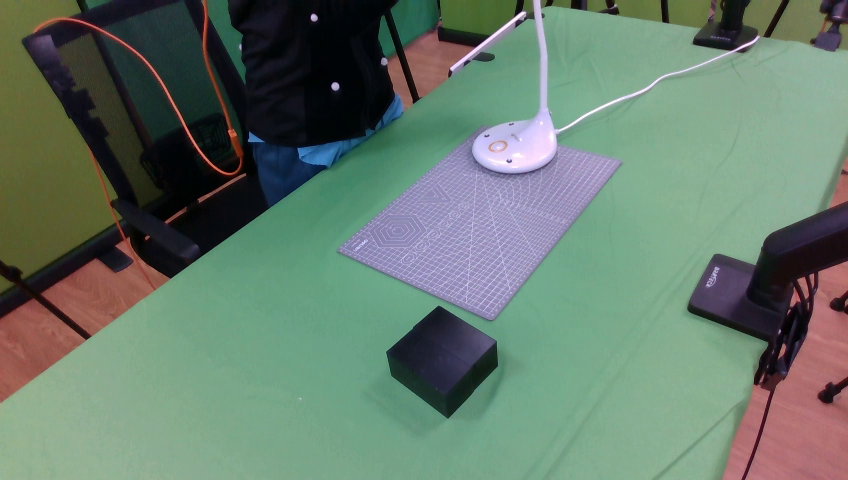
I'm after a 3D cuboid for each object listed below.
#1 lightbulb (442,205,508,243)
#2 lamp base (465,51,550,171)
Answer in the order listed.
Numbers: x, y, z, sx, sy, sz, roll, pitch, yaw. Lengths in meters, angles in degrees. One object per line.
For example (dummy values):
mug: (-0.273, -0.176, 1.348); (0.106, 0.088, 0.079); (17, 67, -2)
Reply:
lightbulb: (0.081, -0.019, 0.955); (0.107, 0.059, 0.059); (18, 44, 5)
lamp base: (0.159, -0.244, 1.103); (0.180, 0.181, 0.159); (-31, 46, -29)
